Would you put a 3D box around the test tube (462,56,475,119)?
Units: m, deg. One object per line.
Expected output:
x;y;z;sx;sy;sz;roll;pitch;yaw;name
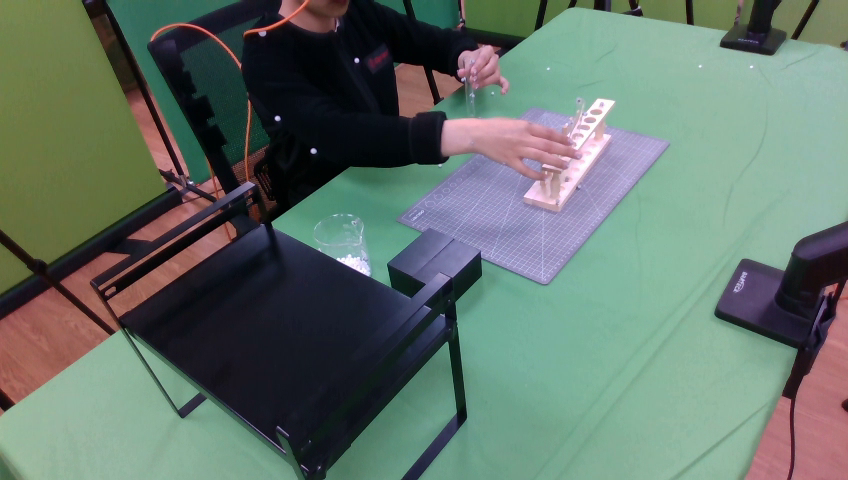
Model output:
0.085;-0.286;1.148;0.017;0.151;0.017;-4;57;6;test tube

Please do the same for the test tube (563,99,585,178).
0.248;-0.164;1.001;0.017;0.151;0.017;-1;43;1;test tube

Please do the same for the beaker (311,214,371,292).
-0.118;0.022;0.908;0.083;0.101;0.074;26;51;32;beaker

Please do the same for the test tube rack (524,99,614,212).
0.259;-0.158;1.069;0.066;0.085;0.243;19;47;28;test tube rack
